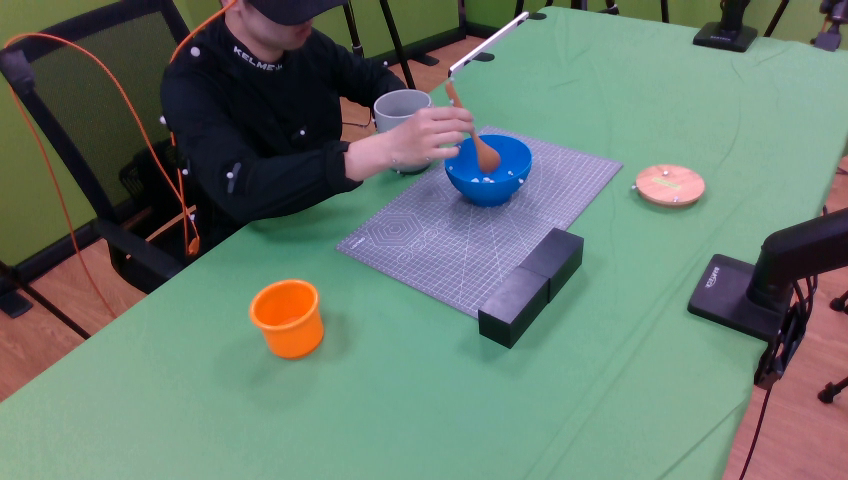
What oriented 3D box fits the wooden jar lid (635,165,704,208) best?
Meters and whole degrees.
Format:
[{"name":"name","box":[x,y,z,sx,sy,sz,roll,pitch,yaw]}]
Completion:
[{"name":"wooden jar lid","box":[0.411,-0.089,1.014,0.108,0.021,0.108,-5,41,5]}]

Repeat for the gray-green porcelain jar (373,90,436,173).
[{"name":"gray-green porcelain jar","box":[-0.034,-0.198,1.125,0.106,0.127,0.105,-4,41,4]}]

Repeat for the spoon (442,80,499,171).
[{"name":"spoon","box":[0.070,-0.173,0.935,0.041,0.195,0.021,-35,41,5]}]

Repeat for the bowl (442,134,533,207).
[{"name":"bowl","box":[0.111,-0.109,1.033,0.151,0.077,0.150,-4,41,4]}]
